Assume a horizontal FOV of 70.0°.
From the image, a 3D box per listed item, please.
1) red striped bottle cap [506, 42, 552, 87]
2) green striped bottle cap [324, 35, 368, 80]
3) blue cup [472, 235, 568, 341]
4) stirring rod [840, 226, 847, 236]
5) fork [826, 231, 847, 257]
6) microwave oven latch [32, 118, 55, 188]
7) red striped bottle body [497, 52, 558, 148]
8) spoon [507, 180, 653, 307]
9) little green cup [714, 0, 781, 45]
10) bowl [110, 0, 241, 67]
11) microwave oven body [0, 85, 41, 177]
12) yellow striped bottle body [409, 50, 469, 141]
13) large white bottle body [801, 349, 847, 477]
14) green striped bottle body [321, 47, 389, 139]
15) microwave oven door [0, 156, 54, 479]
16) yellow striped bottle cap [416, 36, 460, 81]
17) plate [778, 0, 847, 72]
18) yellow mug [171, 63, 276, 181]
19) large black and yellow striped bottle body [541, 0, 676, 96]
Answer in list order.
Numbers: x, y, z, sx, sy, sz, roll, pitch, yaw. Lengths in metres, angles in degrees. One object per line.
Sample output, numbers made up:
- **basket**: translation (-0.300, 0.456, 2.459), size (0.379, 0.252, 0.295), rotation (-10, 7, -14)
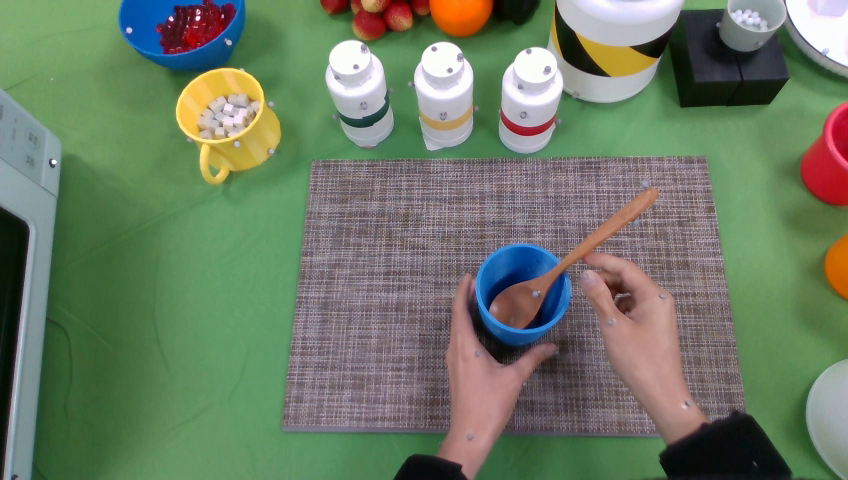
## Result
- **red striped bottle cap**: translation (0.105, -0.176, 0.606), size (0.044, 0.018, 0.044), rotation (0, 67, 0)
- **green striped bottle cap**: translation (-0.081, -0.188, 0.623), size (0.044, 0.020, 0.044), rotation (-1, 68, 3)
- **blue cup**: translation (0.086, 0.055, 0.580), size (0.092, 0.101, 0.092), rotation (0, 66, 1)
- **stirring rod**: translation (0.442, 0.025, 0.552), size (0.014, 0.006, 0.174), rotation (-7, 26, 1)
- **fork**: translation (0.470, 0.026, 0.545), size (0.028, 0.019, 0.205), rotation (-34, 26, -14)
- **microwave oven latch**: translation (-0.444, -0.098, 0.693), size (0.030, 0.030, 0.078), rotation (-7, 69, 1)
- **red striped bottle body**: translation (0.111, -0.156, 0.655), size (0.063, 0.120, 0.062), rotation (-3, 66, 7)
- **spoon**: translation (0.124, 0.015, 0.534), size (0.194, 0.022, 0.041), rotation (-46, 62, 33)
- **little green cup**: translation (0.351, -0.247, 0.663), size (0.061, 0.039, 0.061), rotation (-1, 67, 2)
- **bowl**: translation (-0.290, -0.269, 0.747), size (0.151, 0.077, 0.150), rotation (-1, 69, 3)
- **microwave oven body**: translation (-0.571, 0.052, 0.540), size (0.326, 0.262, 0.438), rotation (-9, 69, 0)
- **yellow striped bottle body**: translation (0.018, -0.166, 0.664), size (0.063, 0.121, 0.062), rotation (-2, 68, 4)
- **large white bottle body**: translation (0.413, 0.133, 0.487), size (0.130, 0.186, 0.129), rotation (-1, 68, 4)
- **green striped bottle body**: translation (-0.076, -0.169, 0.672), size (0.063, 0.120, 0.062), rotation (-1, 68, 3)
- **microwave oven door**: translation (-0.421, 0.066, 0.519), size (0.039, 0.245, 0.353), rotation (-9, 68, 1)
- **yellow striped bottle cap**: translation (0.014, -0.185, 0.616), size (0.044, 0.019, 0.044), rotation (-1, 70, 3)
- **plate**: translation (0.520, -0.277, 0.718), size (0.209, 0.038, 0.207), rotation (-1, 69, 3)
- **yellow mug**: translation (-0.233, -0.130, 0.696), size (0.100, 0.064, 0.130), rotation (9, 70, 6)
- **large black and yellow striped bottle body**: translation (0.201, -0.259, 0.654), size (0.131, 0.185, 0.130), rotation (-1, 69, 4)
